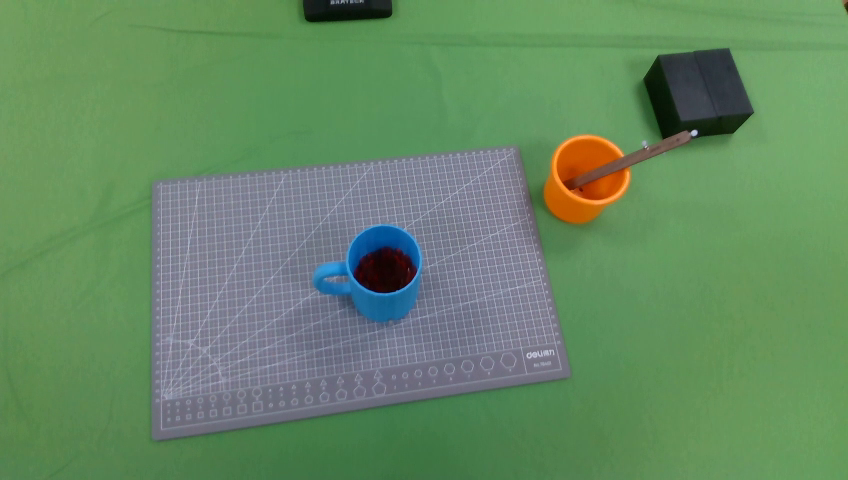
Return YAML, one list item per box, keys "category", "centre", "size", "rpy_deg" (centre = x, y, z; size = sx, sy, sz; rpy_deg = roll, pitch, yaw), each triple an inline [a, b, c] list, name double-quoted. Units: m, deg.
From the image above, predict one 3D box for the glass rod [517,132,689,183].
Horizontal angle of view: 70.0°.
- category: "glass rod"
  centre: [0.201, -0.094, 0.702]
  size: [0.199, 0.008, 0.008]
  rpy_deg: [-14, 66, 27]

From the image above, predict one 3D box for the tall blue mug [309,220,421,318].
- category: "tall blue mug"
  centre: [-0.058, 0.041, 0.644]
  size: [0.107, 0.108, 0.077]
  rpy_deg: [-30, 75, -14]
